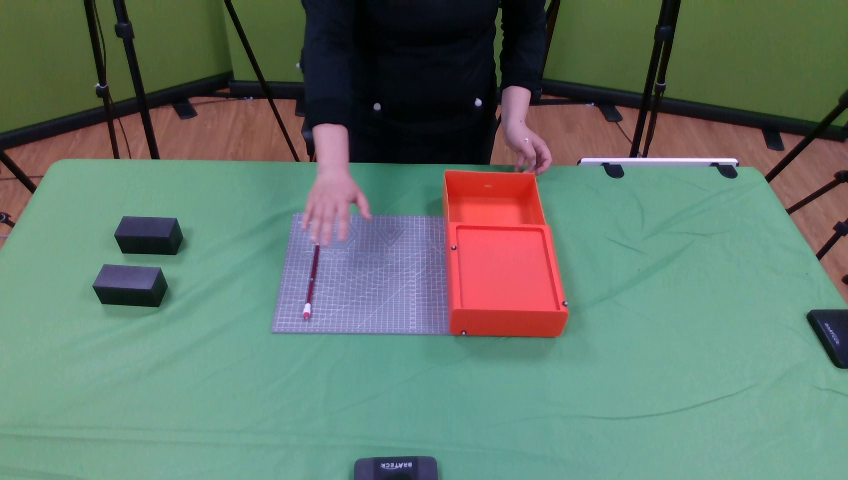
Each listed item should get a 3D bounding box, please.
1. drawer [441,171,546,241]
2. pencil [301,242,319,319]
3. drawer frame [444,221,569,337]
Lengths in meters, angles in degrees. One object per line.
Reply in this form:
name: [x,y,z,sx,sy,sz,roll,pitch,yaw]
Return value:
drawer: [0.137,-0.048,1.214,0.195,0.073,0.210,2,44,-4]
pencil: [-0.207,0.070,1.119,0.012,0.012,0.193,2,43,-2]
drawer frame: [0.141,0.067,1.097,0.202,0.083,0.212,2,46,-4]
